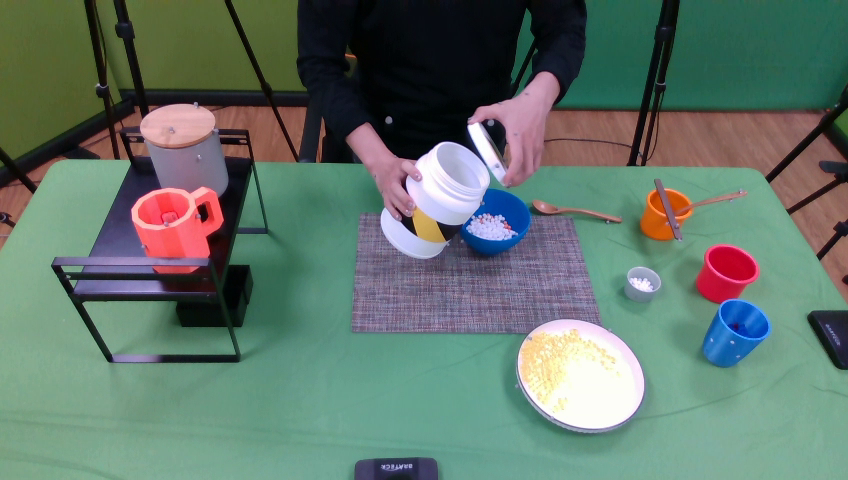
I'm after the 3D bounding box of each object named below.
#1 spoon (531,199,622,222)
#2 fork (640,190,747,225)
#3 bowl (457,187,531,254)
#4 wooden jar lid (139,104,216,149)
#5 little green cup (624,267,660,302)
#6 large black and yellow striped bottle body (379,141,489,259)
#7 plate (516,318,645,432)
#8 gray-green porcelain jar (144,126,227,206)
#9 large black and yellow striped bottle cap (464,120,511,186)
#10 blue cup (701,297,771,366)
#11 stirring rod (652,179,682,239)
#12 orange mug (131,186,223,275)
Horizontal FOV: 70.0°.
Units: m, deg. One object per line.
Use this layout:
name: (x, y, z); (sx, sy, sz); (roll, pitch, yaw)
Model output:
spoon: (0.321, -0.060, 1.279); (0.194, 0.022, 0.041); (8, 33, 5)
fork: (0.533, -0.065, 1.211); (0.207, 0.019, 0.028); (-22, 28, 38)
bowl: (0.128, -0.025, 1.187); (0.151, 0.077, 0.150); (2, 46, -2)
wooden jar lid: (-0.372, -0.169, 0.920); (0.108, 0.021, 0.107); (4, 44, -4)
little green cup: (0.406, 0.084, 1.135); (0.061, 0.039, 0.061); (3, 46, -3)
large black and yellow striped bottle body: (0.017, -0.068, 1.041); (0.131, 0.184, 0.130); (20, 44, -20)
plate: (0.253, 0.221, 0.992); (0.209, 0.038, 0.208); (2, 46, -2)
gray-green porcelain jar: (-0.375, -0.126, 0.967); (0.106, 0.127, 0.105); (2, 46, -2)
large black and yellow striped bottle cap: (0.103, -0.140, 0.973); (0.019, 0.116, 0.114); (-32, 45, 18)
blue cup: (0.519, 0.162, 1.025); (0.093, 0.101, 0.092); (3, 45, -3)
stirring rod: (0.481, -0.065, 1.204); (0.014, 0.006, 0.175); (1, 46, -1)
orange mug: (-0.354, -0.023, 0.887); (0.083, 0.101, 0.126); (31, 56, 24)
